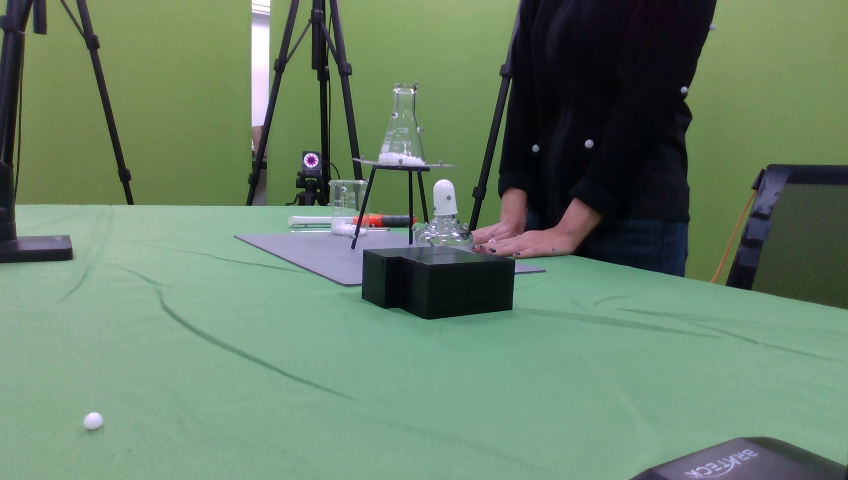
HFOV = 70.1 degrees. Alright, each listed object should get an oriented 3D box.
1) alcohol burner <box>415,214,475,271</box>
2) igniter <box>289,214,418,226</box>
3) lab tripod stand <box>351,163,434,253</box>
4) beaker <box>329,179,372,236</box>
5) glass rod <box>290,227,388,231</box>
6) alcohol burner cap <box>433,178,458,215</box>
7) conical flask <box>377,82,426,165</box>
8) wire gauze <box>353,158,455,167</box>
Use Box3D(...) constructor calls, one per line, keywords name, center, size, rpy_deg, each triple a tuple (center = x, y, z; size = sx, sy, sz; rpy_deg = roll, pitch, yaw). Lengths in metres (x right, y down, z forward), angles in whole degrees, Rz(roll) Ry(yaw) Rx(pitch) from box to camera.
Box3D(name="alcohol burner", center=(0.027, -0.020, 0.783), size=(0.078, 0.119, 0.078), rpy_deg=(0, 8, 0))
Box3D(name="igniter", center=(-0.141, -0.042, 1.258), size=(0.278, 0.025, 0.057), rpy_deg=(-1, -2, -30))
Box3D(name="lab tripod stand", center=(-0.034, -0.052, 0.933), size=(0.148, 0.131, 0.148), rpy_deg=(4, 7, 0))
Box3D(name="beaker", center=(-0.137, -0.060, 1.101), size=(0.084, 0.100, 0.074), rpy_deg=(5, 7, 20))
Box3D(name="glass rod", center=(-0.161, -0.022, 1.178), size=(0.201, 0.008, 0.008), rpy_deg=(-2, 8, -28))
Box3D(name="alcohol burner cap", center=(0.026, -0.056, 0.777), size=(0.034, 0.048, 0.034), rpy_deg=(-6, 9, 1))
Box3D(name="conical flask", center=(-0.032, -0.175, 0.918), size=(0.075, 0.122, 0.075), rpy_deg=(3, 8, 0))
Box3D(name="wire gauze", center=(-0.029, -0.117, 0.927), size=(0.122, 0.011, 0.124), rpy_deg=(0, 5, -36))
